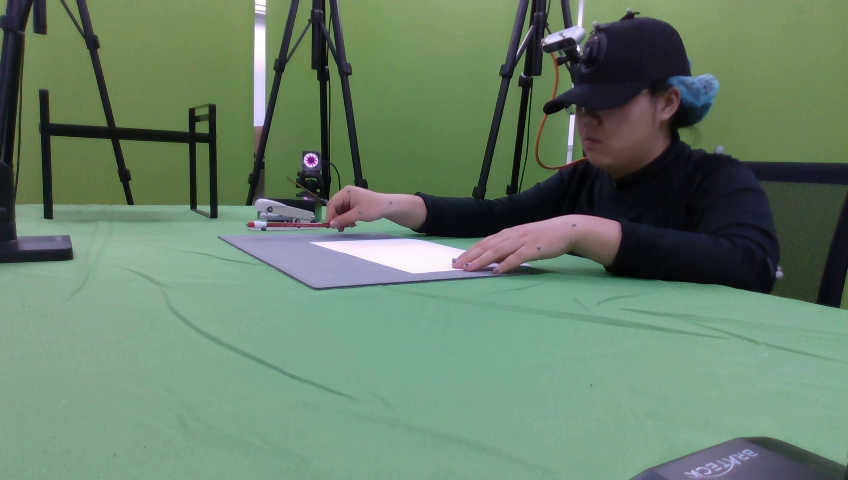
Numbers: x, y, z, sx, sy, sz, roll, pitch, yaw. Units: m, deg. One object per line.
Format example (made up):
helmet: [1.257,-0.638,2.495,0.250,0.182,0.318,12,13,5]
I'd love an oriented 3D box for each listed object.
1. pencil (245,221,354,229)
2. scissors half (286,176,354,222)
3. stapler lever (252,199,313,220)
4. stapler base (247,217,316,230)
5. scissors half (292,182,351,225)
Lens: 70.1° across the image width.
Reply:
pencil: [-0.209,-0.024,1.041,0.195,0.012,0.012,0,8,-33]
scissors half: [-0.229,-0.091,1.337,0.175,0.013,0.040,33,15,-13]
stapler lever: [-0.273,-0.058,1.170,0.119,0.040,0.026,0,10,-37]
stapler base: [-0.276,-0.033,1.172,0.131,0.024,0.041,0,10,-37]
scissors half: [-0.232,-0.085,1.317,0.175,0.013,0.040,38,20,4]
